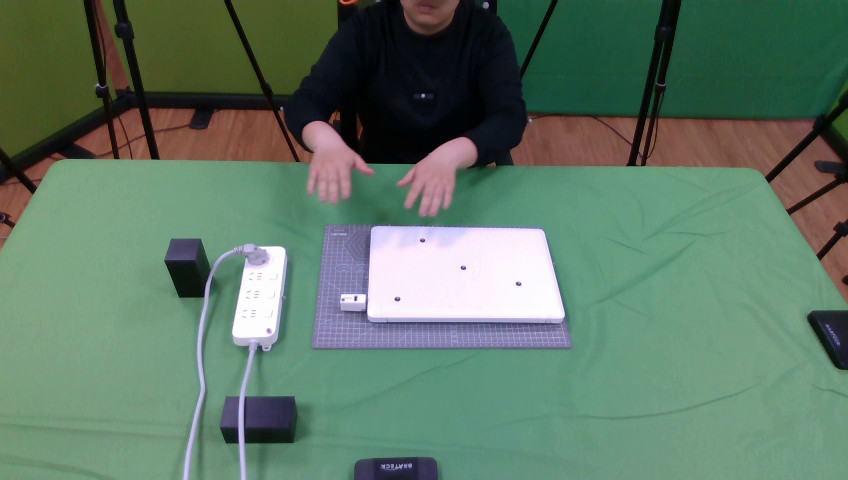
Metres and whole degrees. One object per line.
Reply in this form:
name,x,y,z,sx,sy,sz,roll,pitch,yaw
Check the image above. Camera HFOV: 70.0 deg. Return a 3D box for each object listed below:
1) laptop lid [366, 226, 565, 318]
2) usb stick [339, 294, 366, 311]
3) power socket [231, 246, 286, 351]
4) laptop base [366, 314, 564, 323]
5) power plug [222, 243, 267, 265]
laptop lid,0.072,0.054,1.137,0.357,0.013,0.240,2,44,-3
usb stick,-0.119,0.110,1.068,0.059,0.027,0.021,4,47,-5
power socket,-0.291,0.095,1.077,0.072,0.033,0.225,-2,46,-4
laptop base,0.071,0.064,1.144,0.355,0.023,0.234,1,43,-4
power plug,-0.324,0.028,1.112,0.072,0.053,0.035,5,46,5
